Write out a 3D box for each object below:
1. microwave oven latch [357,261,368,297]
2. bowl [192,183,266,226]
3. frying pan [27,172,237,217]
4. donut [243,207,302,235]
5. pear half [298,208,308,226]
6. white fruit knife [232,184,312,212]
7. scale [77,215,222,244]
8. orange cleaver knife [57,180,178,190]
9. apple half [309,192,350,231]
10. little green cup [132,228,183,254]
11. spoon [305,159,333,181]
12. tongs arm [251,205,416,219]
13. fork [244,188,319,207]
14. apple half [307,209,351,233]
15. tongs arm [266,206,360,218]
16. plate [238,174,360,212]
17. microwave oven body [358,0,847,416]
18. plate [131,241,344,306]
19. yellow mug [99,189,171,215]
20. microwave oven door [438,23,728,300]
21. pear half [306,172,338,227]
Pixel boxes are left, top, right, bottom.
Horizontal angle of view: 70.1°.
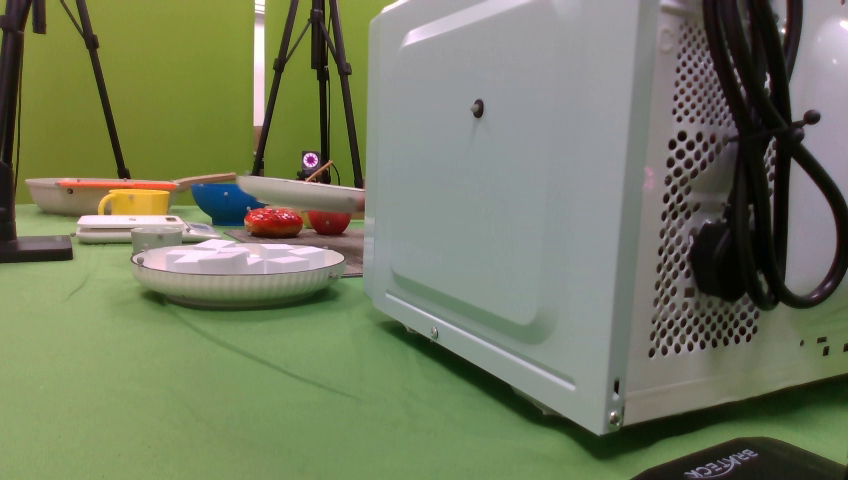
[{"bbox_3d":[-0.019,0.033,0.531,0.079,0.029,0.030,-1,7,-27],"label":"microwave oven latch"},{"bbox_3d":[-0.382,-0.071,1.202,0.151,0.077,0.151,3,7,0],"label":"bowl"},{"bbox_3d":[-0.624,-0.118,1.387,0.305,0.102,0.490,8,17,32],"label":"frying pan"},{"bbox_3d":[-0.261,-0.032,1.043,0.099,0.048,0.099,4,9,0],"label":"donut"},{"bbox_3d":[-0.235,-0.071,1.207,0.031,0.088,0.070,3,10,0],"label":"pear half"},{"bbox_3d":[-0.364,-0.105,1.464,0.208,0.027,0.016,15,-1,-34],"label":"white fruit knife"},{"bbox_3d":[-0.434,-0.019,0.963,0.202,0.031,0.148,-1,9,-27],"label":"scale"},{"bbox_3d":[-0.600,-0.109,1.189,0.212,0.012,0.077,-1,11,-26],"label":"orange cleaver knife"},{"bbox_3d":[-0.173,-0.055,1.125,0.081,0.081,0.033,3,10,3],"label":"apple half"},{"bbox_3d":[-0.342,0.006,0.779,0.061,0.038,0.061,2,8,0],"label":"little green cup"},{"bbox_3d":[-0.316,-0.159,1.640,0.194,0.022,0.041,-50,32,-20],"label":"spoon"},{"bbox_3d":[-0.211,-0.067,1.440,0.389,0.027,0.028,0,-1,-17],"label":"tongs arm"},{"bbox_3d":[-0.356,-0.105,1.526,0.208,0.018,0.028,16,-6,-41],"label":"fork"},{"bbox_3d":[-0.174,-0.049,1.087,0.081,0.074,0.053,6,11,2],"label":"apple half"},{"bbox_3d":[-0.173,-0.061,1.362,0.387,0.026,0.050,-1,3,-31],"label":"tongs arm"},{"bbox_3d":[-0.174,-0.070,0.913,0.209,0.038,0.209,6,5,0],"label":"plate"},{"bbox_3d":[0.211,-0.047,0.474,0.444,0.260,0.324,-1,7,-28],"label":"microwave oven body"},{"bbox_3d":[-0.187,0.033,0.625,0.208,0.039,0.207,2,8,0],"label":"plate"},{"bbox_3d":[-0.519,-0.055,1.080,0.099,0.064,0.131,7,10,26],"label":"yellow mug"},{"bbox_3d":[0.181,-0.073,0.621,0.358,0.243,0.039,-2,8,-29],"label":"microwave oven door"},{"bbox_3d":[-0.200,-0.079,1.203,0.056,0.110,0.076,3,11,2],"label":"pear half"}]
